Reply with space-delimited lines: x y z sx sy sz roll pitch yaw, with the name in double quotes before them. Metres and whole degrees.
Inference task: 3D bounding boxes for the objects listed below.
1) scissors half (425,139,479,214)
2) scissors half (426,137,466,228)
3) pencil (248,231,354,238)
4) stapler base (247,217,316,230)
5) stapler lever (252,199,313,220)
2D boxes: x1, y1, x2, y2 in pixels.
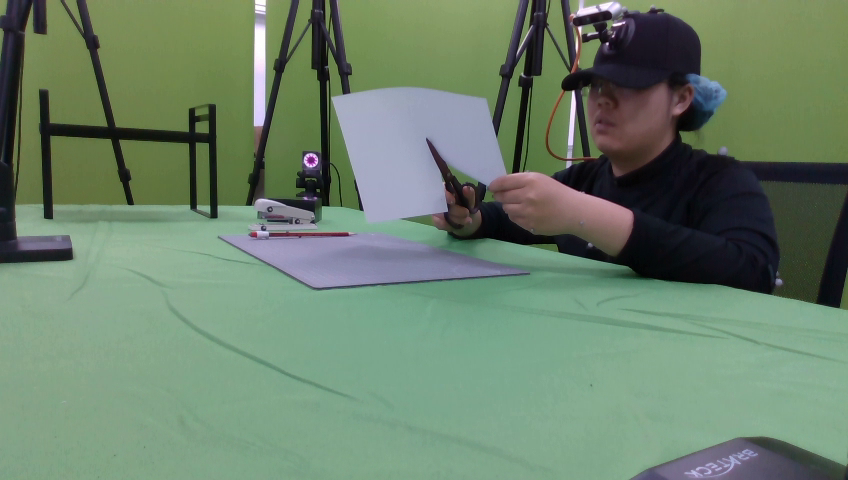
"scissors half" 0.045 -0.101 0.964 0.012 0.040 0.176 27 -15 45
"scissors half" 0.032 -0.087 0.958 0.013 0.175 0.040 20 51 43
"pencil" -0.206 -0.008 1.039 0.195 0.012 0.012 0 7 -36
"stapler base" -0.276 -0.033 1.172 0.131 0.024 0.041 0 10 -37
"stapler lever" -0.273 -0.058 1.170 0.119 0.040 0.026 0 10 -37
